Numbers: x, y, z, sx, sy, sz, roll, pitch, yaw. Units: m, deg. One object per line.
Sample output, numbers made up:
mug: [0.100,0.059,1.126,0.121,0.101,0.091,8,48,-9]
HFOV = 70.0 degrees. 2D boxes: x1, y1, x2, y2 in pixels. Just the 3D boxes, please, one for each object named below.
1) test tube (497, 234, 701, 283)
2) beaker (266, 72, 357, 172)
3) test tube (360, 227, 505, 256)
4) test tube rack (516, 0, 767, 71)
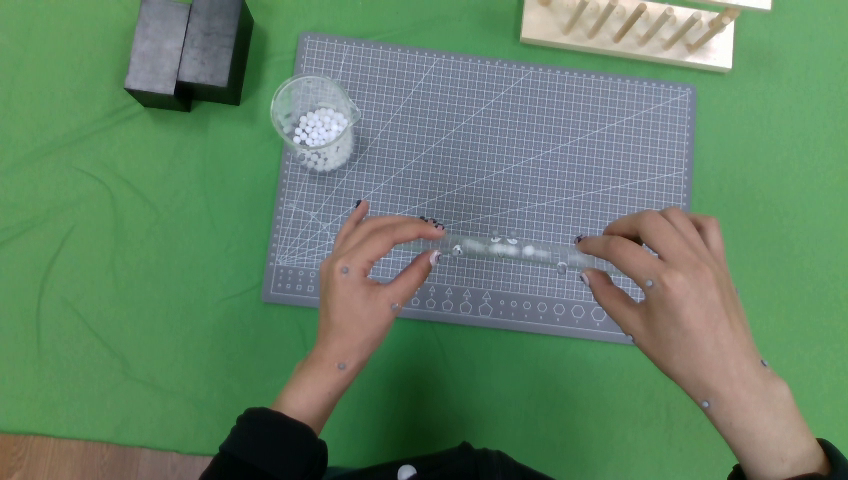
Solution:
test tube: [0.129,0.014,0.448,0.150,0.017,0.017,8,82,2]
beaker: [-0.107,-0.113,0.608,0.084,0.100,0.074,-1,82,-4]
test tube: [0.001,0.000,0.501,0.149,0.017,0.017,4,78,40]
test tube rack: [0.230,-0.249,0.657,0.242,0.085,0.066,7,82,-2]
